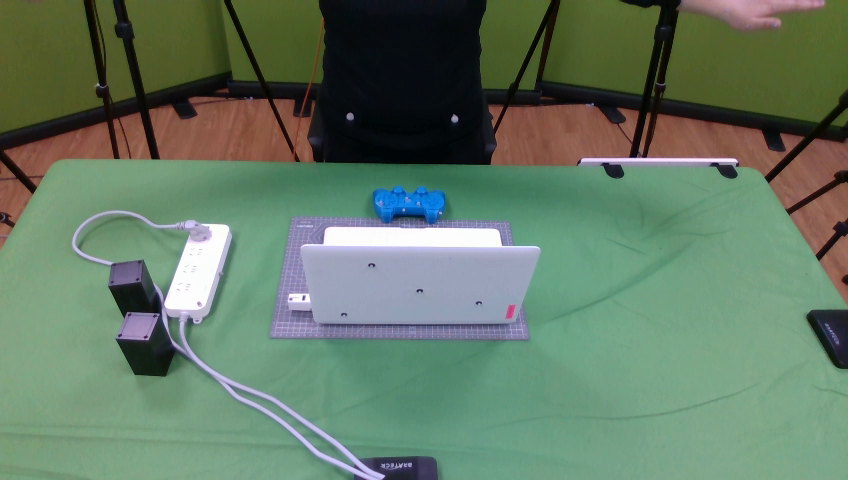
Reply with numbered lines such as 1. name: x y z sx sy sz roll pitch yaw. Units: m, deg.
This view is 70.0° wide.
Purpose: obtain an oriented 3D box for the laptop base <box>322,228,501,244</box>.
1. laptop base: -0.020 0.063 1.136 0.355 0.023 0.234 0 43 -4

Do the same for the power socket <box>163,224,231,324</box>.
1. power socket: -0.410 0.052 1.107 0.072 0.033 0.225 3 46 -3

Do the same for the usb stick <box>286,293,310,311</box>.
1. usb stick: -0.210 0.109 1.060 0.059 0.027 0.021 4 45 -6

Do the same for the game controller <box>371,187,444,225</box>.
1. game controller: -0.033 -0.079 1.254 0.155 0.052 0.096 1 47 -3

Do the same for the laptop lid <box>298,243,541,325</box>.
1. laptop lid: -0.010 0.076 0.958 0.357 0.243 0.013 1 53 -5

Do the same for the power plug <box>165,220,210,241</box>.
1. power plug: -0.440 -0.015 1.143 0.072 0.053 0.035 7 45 8
